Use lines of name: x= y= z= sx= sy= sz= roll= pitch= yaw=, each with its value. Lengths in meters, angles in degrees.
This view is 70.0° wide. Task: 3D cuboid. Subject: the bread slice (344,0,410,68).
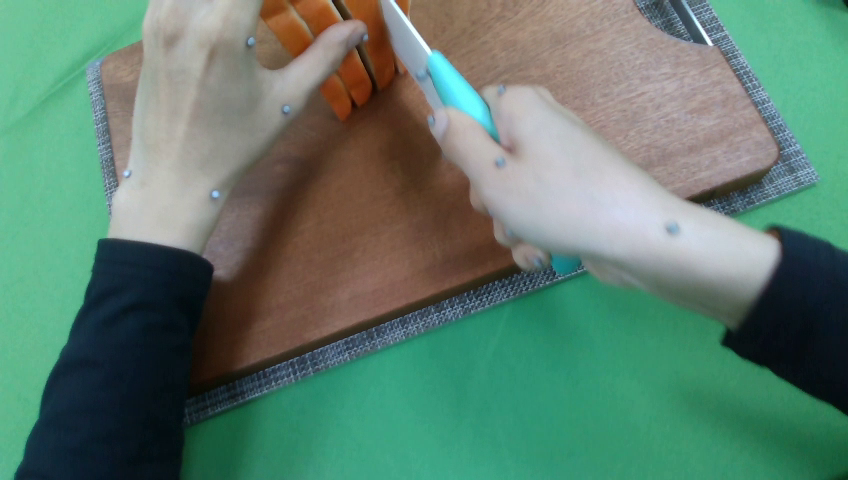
bread slice: x=-0.041 y=-0.180 z=0.365 sx=0.019 sy=0.132 sz=0.104 roll=-33 pitch=71 yaw=-9

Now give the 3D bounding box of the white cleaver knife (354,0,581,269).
white cleaver knife: x=0.000 y=-0.103 z=0.350 sx=0.021 sy=0.066 sz=0.284 roll=-32 pitch=75 yaw=-5

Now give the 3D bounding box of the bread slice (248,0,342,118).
bread slice: x=-0.093 y=-0.150 z=0.365 sx=0.018 sy=0.135 sz=0.106 roll=-29 pitch=67 yaw=1
